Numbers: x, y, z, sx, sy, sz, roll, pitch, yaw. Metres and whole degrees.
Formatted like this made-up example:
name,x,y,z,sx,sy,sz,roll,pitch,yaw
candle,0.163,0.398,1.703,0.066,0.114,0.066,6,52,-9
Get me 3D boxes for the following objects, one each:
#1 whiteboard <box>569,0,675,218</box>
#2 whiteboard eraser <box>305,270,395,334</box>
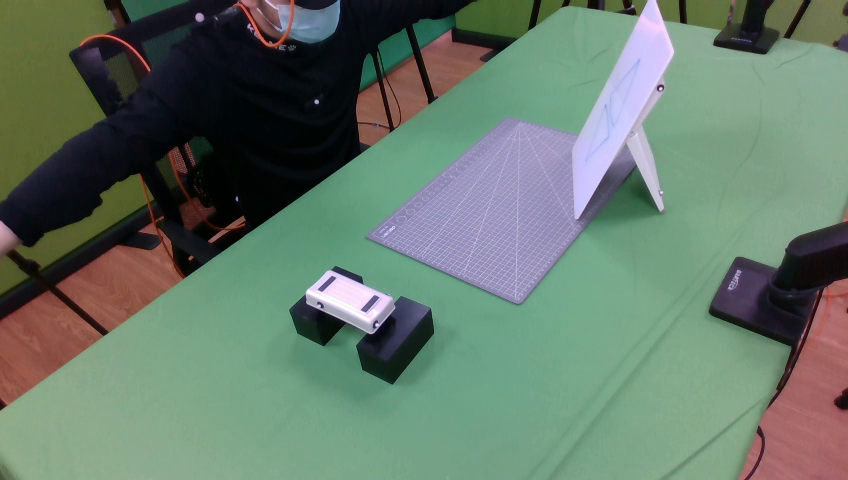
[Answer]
name,x,y,z,sx,sy,sz,roll,pitch,yaw
whiteboard,0.363,-0.187,0.965,0.144,0.305,0.216,18,42,-3
whiteboard eraser,-0.098,0.083,0.799,0.112,0.042,0.056,20,44,25
